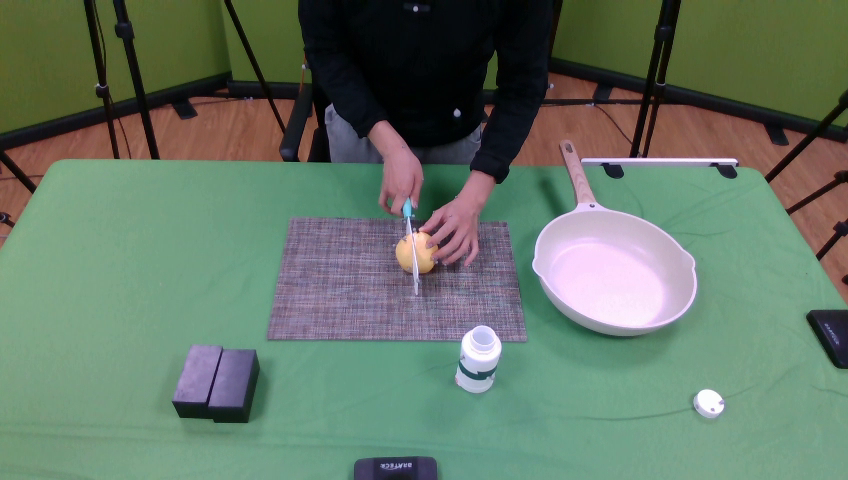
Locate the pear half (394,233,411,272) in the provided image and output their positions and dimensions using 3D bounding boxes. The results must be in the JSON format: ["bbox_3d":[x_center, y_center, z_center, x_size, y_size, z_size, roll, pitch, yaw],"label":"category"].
[{"bbox_3d":[-0.039,0.022,1.123,0.031,0.088,0.070,-11,50,-8],"label":"pear half"}]

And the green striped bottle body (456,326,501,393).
[{"bbox_3d":[0.086,0.185,0.959,0.063,0.120,0.063,2,47,-2],"label":"green striped bottle body"}]

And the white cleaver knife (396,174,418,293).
[{"bbox_3d":[-0.034,-0.019,1.148,0.021,0.066,0.284,0,47,-8],"label":"white cleaver knife"}]

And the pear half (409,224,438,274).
[{"bbox_3d":[-0.001,0.011,1.121,0.056,0.110,0.076,-8,48,-13],"label":"pear half"}]

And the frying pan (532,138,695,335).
[{"bbox_3d":[0.336,-0.024,1.190,0.307,0.103,0.484,-2,55,-7],"label":"frying pan"}]

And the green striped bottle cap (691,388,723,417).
[{"bbox_3d":[0.460,0.263,0.984,0.044,0.020,0.044,3,47,-3],"label":"green striped bottle cap"}]
